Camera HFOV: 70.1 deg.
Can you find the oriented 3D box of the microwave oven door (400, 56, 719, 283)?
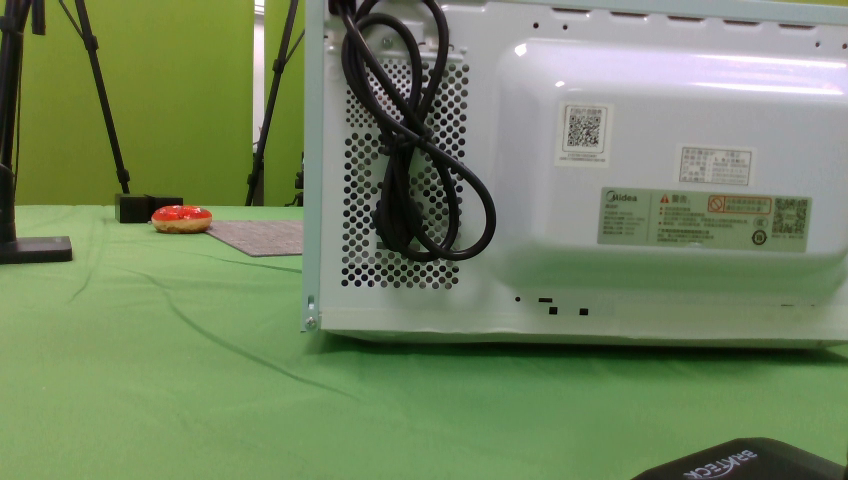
[{"bbox_3d":[0.155,-0.077,0.697,0.356,0.243,0.039,2,8,-5],"label":"microwave oven door"}]

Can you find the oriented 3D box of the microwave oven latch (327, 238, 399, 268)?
[{"bbox_3d":[-0.069,0.015,0.694,0.079,0.029,0.030,3,7,-3],"label":"microwave oven latch"}]

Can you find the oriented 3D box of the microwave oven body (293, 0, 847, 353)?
[{"bbox_3d":[0.122,-0.055,0.550,0.442,0.260,0.325,3,7,-5],"label":"microwave oven body"}]

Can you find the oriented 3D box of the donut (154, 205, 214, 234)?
[{"bbox_3d":[-0.426,-0.037,1.075,0.099,0.048,0.099,2,12,0],"label":"donut"}]
